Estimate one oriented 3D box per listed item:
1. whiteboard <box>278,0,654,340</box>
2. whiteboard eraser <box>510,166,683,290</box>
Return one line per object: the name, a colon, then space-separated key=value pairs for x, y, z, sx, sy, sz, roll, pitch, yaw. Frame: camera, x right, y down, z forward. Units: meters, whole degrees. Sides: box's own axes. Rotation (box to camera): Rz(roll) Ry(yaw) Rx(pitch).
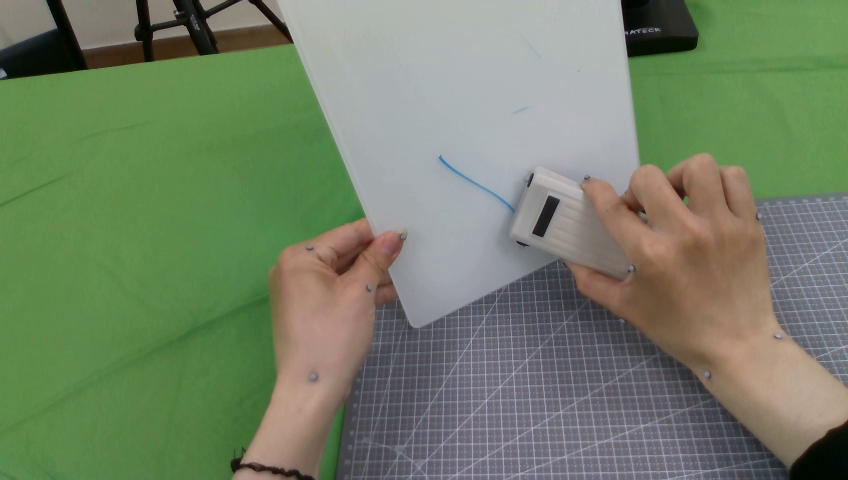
whiteboard: x=0.024 y=-0.122 z=0.457 sx=0.217 sy=0.308 sz=0.142 roll=-25 pitch=30 yaw=-9
whiteboard eraser: x=0.122 y=-0.010 z=0.439 sx=0.112 sy=0.056 sz=0.041 roll=22 pitch=23 yaw=2
